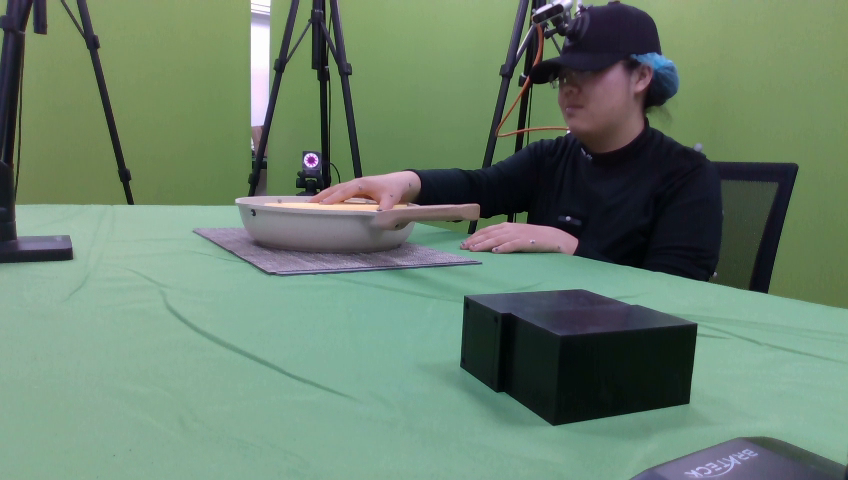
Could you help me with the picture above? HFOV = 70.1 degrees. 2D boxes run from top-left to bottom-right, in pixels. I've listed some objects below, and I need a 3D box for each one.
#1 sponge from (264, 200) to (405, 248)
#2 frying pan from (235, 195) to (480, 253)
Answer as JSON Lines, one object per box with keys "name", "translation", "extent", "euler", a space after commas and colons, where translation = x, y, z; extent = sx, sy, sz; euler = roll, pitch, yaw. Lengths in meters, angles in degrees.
{"name": "sponge", "translation": [-0.138, -0.029, 0.968], "extent": [0.117, 0.061, 0.208], "euler": [5, 8, 37]}
{"name": "frying pan", "translation": [-0.089, -0.034, 0.891], "extent": [0.308, 0.102, 0.485], "euler": [-4, 2, -36]}
